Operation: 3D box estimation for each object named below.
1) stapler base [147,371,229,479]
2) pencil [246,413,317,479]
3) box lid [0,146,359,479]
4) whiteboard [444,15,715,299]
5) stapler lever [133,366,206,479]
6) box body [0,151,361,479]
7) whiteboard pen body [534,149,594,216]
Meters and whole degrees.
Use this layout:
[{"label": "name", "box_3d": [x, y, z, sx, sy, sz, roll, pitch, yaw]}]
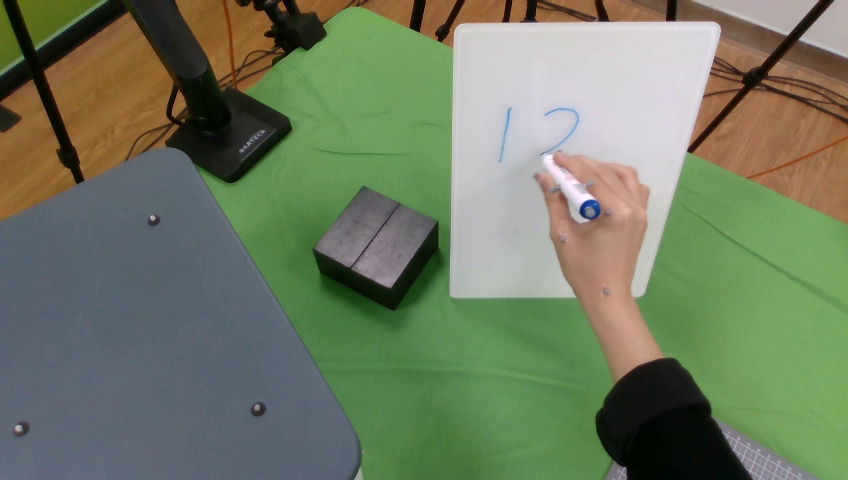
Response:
[{"label": "stapler base", "box_3d": [-0.228, 0.184, 0.573, 0.041, 0.025, 0.129, 2, 60, 24]}, {"label": "pencil", "box_3d": [-0.168, 0.231, 0.554, 0.012, 0.012, 0.193, 33, 53, 19]}, {"label": "box lid", "box_3d": [-0.247, 0.092, 0.473, 0.263, 0.015, 0.368, -30, 64, -17]}, {"label": "whiteboard", "box_3d": [0.129, -0.098, 0.630, 0.217, 0.308, 0.142, 0, 39, 1]}, {"label": "stapler lever", "box_3d": [-0.235, 0.173, 0.553, 0.026, 0.040, 0.117, 2, 59, 24]}, {"label": "box body", "box_3d": [-0.245, 0.132, 0.535, 0.254, 0.162, 0.360, -31, 63, -17]}, {"label": "whiteboard pen body", "box_3d": [0.110, -0.053, 0.495, 0.017, 0.017, 0.139, -6, 26, -3]}]
